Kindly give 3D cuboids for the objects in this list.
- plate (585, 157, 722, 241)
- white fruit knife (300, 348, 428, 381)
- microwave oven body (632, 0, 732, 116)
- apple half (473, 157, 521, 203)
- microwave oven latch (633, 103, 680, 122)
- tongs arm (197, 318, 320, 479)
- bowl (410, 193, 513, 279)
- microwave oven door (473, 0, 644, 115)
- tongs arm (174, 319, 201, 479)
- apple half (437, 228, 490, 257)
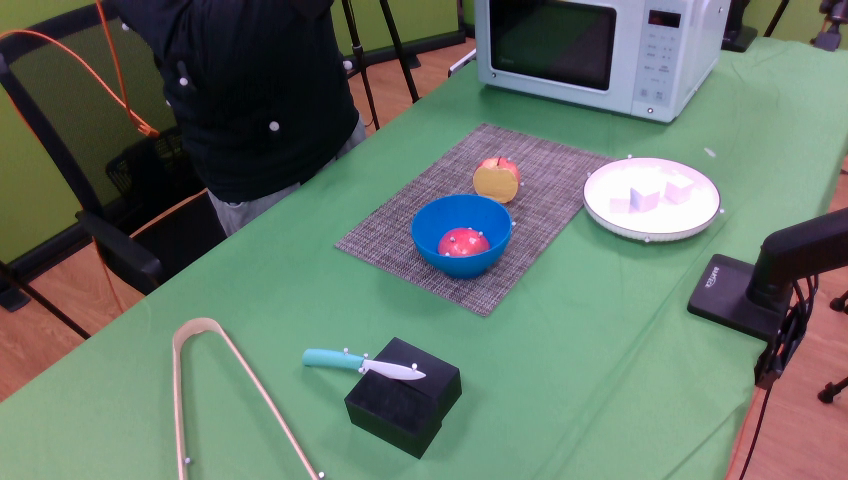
[{"bbox_3d":[0.367,-0.063,0.979,0.207,0.039,0.206,-4,40,4],"label":"plate"},{"bbox_3d":[-0.080,0.154,0.748,0.206,0.027,0.016,1,20,34],"label":"white fruit knife"},{"bbox_3d":[0.377,-0.462,1.267,0.438,0.261,0.327,21,48,30],"label":"microwave oven body"},{"bbox_3d":[0.128,-0.107,1.030,0.080,0.075,0.053,4,38,19],"label":"apple half"},{"bbox_3d":[0.443,-0.249,1.157,0.078,0.029,0.030,20,48,29],"label":"microwave oven latch"},{"bbox_3d":[-0.200,0.207,0.750,0.028,0.028,0.384,-31,45,-22],"label":"tongs arm"},{"bbox_3d":[0.058,0.005,0.905,0.151,0.077,0.150,-4,40,4],"label":"bowl"},{"bbox_3d":[0.257,-0.396,1.199,0.353,0.245,0.039,21,48,29],"label":"microwave oven door"},{"bbox_3d":[-0.272,0.234,0.723,0.051,0.026,0.381,-19,40,-15],"label":"tongs arm"},{"bbox_3d":[0.056,0.002,0.901,0.081,0.033,0.081,-3,41,3],"label":"apple half"}]
